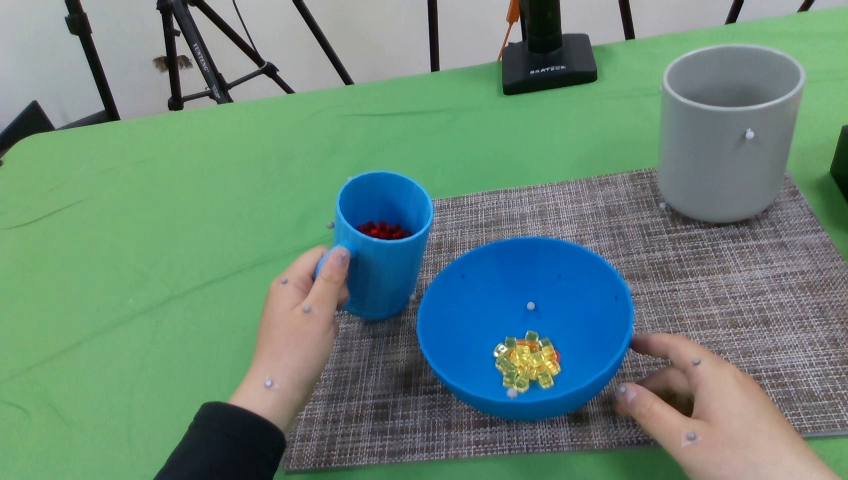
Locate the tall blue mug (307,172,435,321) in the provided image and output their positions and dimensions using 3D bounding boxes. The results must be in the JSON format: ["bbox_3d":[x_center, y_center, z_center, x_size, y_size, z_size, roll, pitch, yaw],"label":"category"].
[{"bbox_3d":[-0.042,0.019,0.496,0.078,0.108,0.106,16,50,0],"label":"tall blue mug"}]

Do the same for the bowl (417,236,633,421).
[{"bbox_3d":[0.075,0.076,0.445,0.151,0.077,0.150,-9,41,8],"label":"bowl"}]

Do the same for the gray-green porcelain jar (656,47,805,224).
[{"bbox_3d":[0.259,-0.085,0.529,0.106,0.128,0.105,-9,42,8],"label":"gray-green porcelain jar"}]
